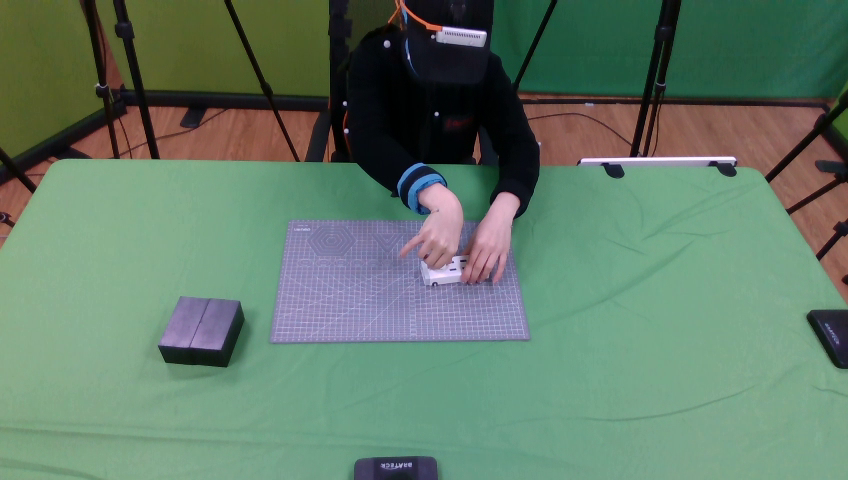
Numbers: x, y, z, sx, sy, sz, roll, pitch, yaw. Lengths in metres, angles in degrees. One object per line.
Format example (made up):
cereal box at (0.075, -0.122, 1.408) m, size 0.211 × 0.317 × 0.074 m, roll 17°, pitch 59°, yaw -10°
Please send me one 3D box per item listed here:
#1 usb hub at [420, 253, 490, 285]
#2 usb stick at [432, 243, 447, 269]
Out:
usb hub at (0.059, 0.055, 1.142) m, size 0.125 × 0.025 × 0.049 m, roll -7°, pitch 48°, yaw -10°
usb stick at (0.028, 0.034, 1.118) m, size 0.021 × 0.059 × 0.027 m, roll -8°, pitch 52°, yaw -13°
